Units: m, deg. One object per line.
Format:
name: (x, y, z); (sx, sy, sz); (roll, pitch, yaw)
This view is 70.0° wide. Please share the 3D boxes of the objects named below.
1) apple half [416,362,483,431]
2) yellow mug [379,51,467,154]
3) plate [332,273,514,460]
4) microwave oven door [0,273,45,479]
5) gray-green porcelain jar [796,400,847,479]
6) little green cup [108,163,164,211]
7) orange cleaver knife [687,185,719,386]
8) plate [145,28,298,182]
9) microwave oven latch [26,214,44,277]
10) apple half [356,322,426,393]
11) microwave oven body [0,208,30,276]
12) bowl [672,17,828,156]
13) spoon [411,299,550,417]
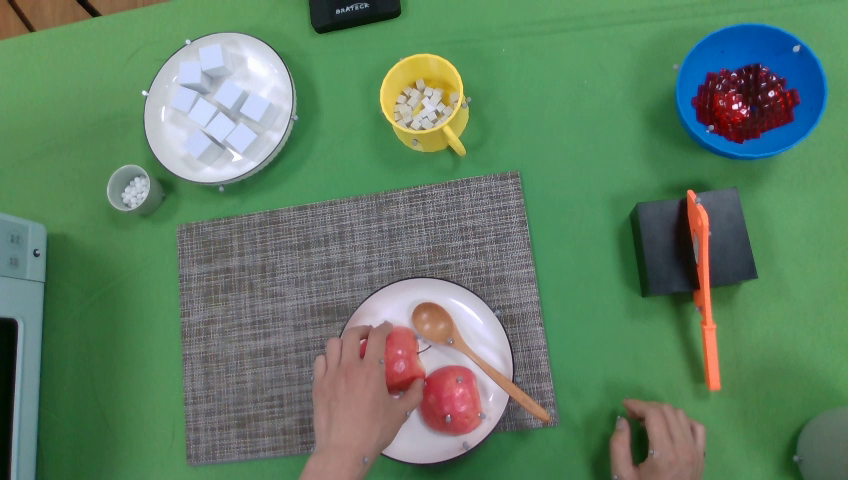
apple half: (0.026, 0.177, 0.679); (0.081, 0.033, 0.081); (-2, 77, 9)
yellow mug: (0.010, -0.157, 0.733); (0.100, 0.064, 0.130); (-37, 78, 2)
plate: (-0.001, 0.142, 0.695); (0.209, 0.038, 0.208); (-1, 81, 9)
microwave oven door: (-0.522, 0.205, 0.653); (0.039, 0.245, 0.354); (-6, 79, 9)
gray-green porcelain jar: (0.426, 0.207, 0.571); (0.105, 0.127, 0.105); (-2, 79, 10)
little green cup: (-0.375, -0.067, 0.796); (0.061, 0.039, 0.061); (-1, 81, 8)
orange cleaver knife: (0.293, 0.049, 0.642); (0.012, 0.077, 0.212); (-7, 103, 12)
plate: (-0.261, -0.175, 0.797); (0.207, 0.039, 0.207); (-2, 80, 10)
microwave oven latch: (-0.516, 0.008, 0.790); (0.030, 0.029, 0.079); (-4, 81, 8)
apple half: (-0.041, 0.133, 0.688); (0.074, 0.053, 0.080); (-11, 78, 10)
microwave oven body: (-0.667, 0.178, 0.687); (0.325, 0.261, 0.440); (-5, 80, 8)
bowl: (0.347, -0.157, 0.669); (0.151, 0.077, 0.151); (-2, 81, 10)
spoon: (0.061, 0.131, 0.673); (0.192, 0.022, 0.041); (37, 75, 26)
